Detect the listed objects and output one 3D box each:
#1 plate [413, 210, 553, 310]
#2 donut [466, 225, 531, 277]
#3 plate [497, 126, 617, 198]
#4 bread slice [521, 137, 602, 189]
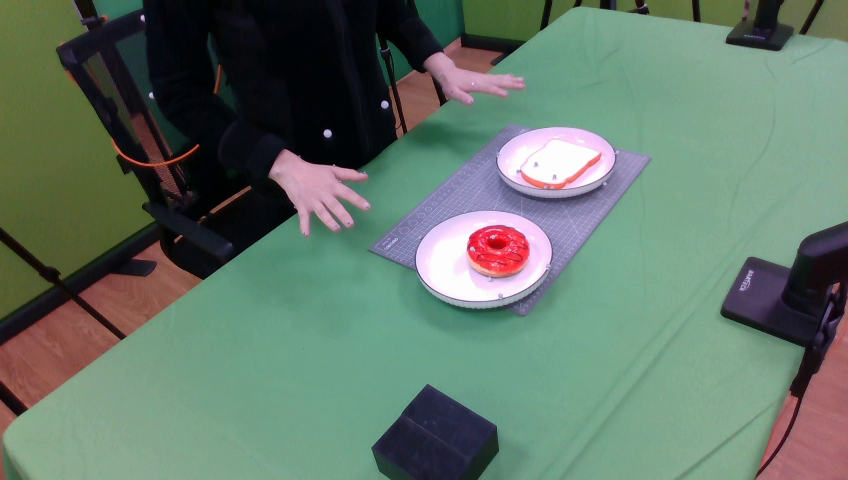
[{"bbox_3d":[0.088,0.033,0.914,0.207,0.039,0.206,-5,40,5],"label":"plate"},{"bbox_3d":[0.112,0.017,0.910,0.099,0.048,0.098,-2,41,2],"label":"donut"},{"bbox_3d":[0.236,-0.136,1.085,0.209,0.038,0.208,-5,40,5],"label":"plate"},{"bbox_3d":[0.242,-0.136,1.085,0.106,0.018,0.134,23,50,34],"label":"bread slice"}]
